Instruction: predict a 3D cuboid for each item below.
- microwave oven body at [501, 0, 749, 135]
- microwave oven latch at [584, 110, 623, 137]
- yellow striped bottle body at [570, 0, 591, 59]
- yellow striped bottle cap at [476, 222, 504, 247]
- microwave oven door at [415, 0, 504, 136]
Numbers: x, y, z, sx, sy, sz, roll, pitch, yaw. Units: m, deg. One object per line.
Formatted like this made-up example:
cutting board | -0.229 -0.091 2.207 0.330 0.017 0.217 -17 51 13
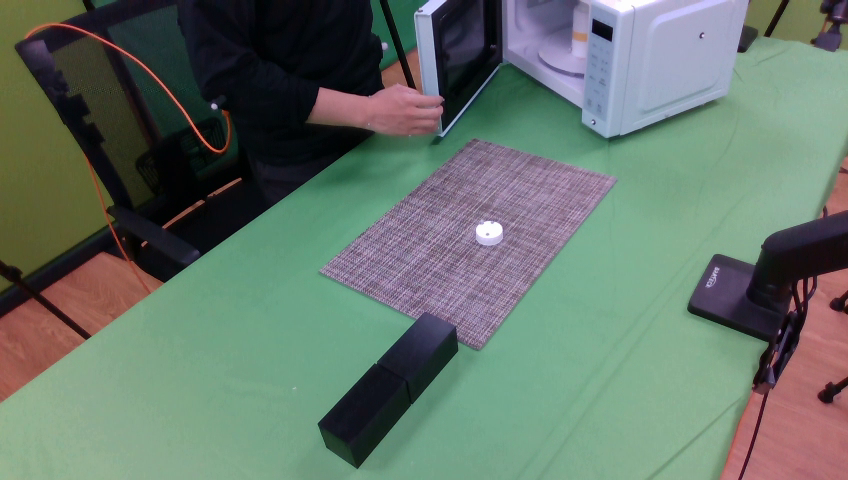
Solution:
microwave oven body | 0.382 -0.444 1.246 0.327 0.261 0.437 -22 42 -16
microwave oven latch | 0.336 -0.222 1.142 0.030 0.029 0.078 -21 42 -15
yellow striped bottle body | 0.338 -0.450 1.269 0.063 0.121 0.062 -7 44 7
yellow striped bottle cap | 0.105 -0.010 0.966 0.044 0.019 0.044 -3 39 3
microwave oven door | 0.084 -0.409 1.239 0.039 0.245 0.356 13 45 23
